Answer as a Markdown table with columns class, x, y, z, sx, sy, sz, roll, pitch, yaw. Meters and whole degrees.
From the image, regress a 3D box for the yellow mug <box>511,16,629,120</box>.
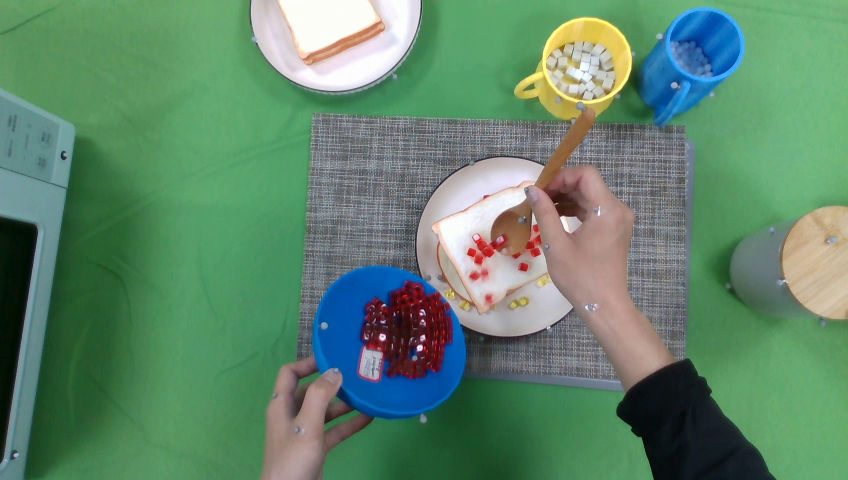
| class | x | y | z | sx | sy | sz | roll | pitch | yaw |
| --- | --- | --- | --- | --- | --- | --- | --- | --- | --- |
| yellow mug | 0.165 | -0.193 | 0.704 | 0.131 | 0.064 | 0.099 | -17 | 83 | 2 |

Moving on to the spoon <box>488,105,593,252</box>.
| class | x | y | z | sx | sy | sz | roll | pitch | yaw |
| --- | --- | --- | --- | --- | --- | --- | --- | --- | --- |
| spoon | 0.100 | -0.047 | 0.538 | 0.021 | 0.195 | 0.041 | -33 | 73 | -29 |

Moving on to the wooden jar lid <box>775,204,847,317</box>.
| class | x | y | z | sx | sy | sz | roll | pitch | yaw |
| --- | --- | --- | --- | --- | --- | --- | --- | --- | --- |
| wooden jar lid | 0.389 | 0.020 | 0.582 | 0.108 | 0.021 | 0.108 | 0 | 87 | 0 |

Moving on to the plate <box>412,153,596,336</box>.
| class | x | y | z | sx | sy | sz | roll | pitch | yaw |
| --- | --- | --- | --- | --- | --- | --- | --- | --- | --- |
| plate | 0.090 | 0.005 | 0.698 | 0.209 | 0.038 | 0.208 | 0 | 84 | 2 |

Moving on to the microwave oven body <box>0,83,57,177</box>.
| class | x | y | z | sx | sy | sz | roll | pitch | yaw |
| --- | --- | --- | --- | --- | --- | --- | --- | --- | --- |
| microwave oven body | -0.609 | 0.038 | 0.609 | 0.326 | 0.260 | 0.440 | 5 | 85 | 2 |

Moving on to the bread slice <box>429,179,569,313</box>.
| class | x | y | z | sx | sy | sz | roll | pitch | yaw |
| --- | --- | --- | --- | --- | --- | --- | --- | --- | --- |
| bread slice | 0.084 | -0.003 | 0.640 | 0.134 | 0.018 | 0.107 | -32 | 91 | -8 |

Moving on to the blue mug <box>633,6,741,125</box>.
| class | x | y | z | sx | sy | sz | roll | pitch | yaw |
| --- | --- | --- | --- | --- | --- | --- | --- | --- | --- |
| blue mug | 0.284 | -0.184 | 0.680 | 0.082 | 0.106 | 0.116 | 25 | 86 | 5 |

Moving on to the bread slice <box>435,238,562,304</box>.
| class | x | y | z | sx | sy | sz | roll | pitch | yaw |
| --- | --- | --- | --- | --- | --- | --- | --- | --- | --- |
| bread slice | 0.080 | 0.014 | 0.700 | 0.131 | 0.019 | 0.104 | -29 | 83 | -1 |

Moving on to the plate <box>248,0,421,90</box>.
| class | x | y | z | sx | sy | sz | roll | pitch | yaw |
| --- | --- | --- | --- | --- | --- | --- | --- | --- | --- |
| plate | -0.107 | -0.280 | 0.737 | 0.207 | 0.039 | 0.207 | 0 | 84 | 2 |

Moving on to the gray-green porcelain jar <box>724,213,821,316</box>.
| class | x | y | z | sx | sy | sz | roll | pitch | yaw |
| --- | --- | --- | --- | --- | --- | --- | --- | --- | --- |
| gray-green porcelain jar | 0.393 | 0.028 | 0.645 | 0.106 | 0.127 | 0.105 | 0 | 84 | 2 |

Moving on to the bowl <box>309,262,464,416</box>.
| class | x | y | z | sx | sy | sz | roll | pitch | yaw |
| --- | --- | --- | --- | --- | --- | --- | --- | --- | --- |
| bowl | -0.046 | 0.105 | 0.583 | 0.152 | 0.077 | 0.150 | 16 | 52 | -20 |

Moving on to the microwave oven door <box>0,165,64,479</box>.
| class | x | y | z | sx | sy | sz | roll | pitch | yaw |
| --- | --- | --- | --- | --- | --- | --- | --- | --- | --- |
| microwave oven door | -0.469 | 0.093 | 0.594 | 0.039 | 0.244 | 0.355 | 5 | 84 | 3 |

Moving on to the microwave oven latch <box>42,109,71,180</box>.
| class | x | y | z | sx | sy | sz | roll | pitch | yaw |
| --- | --- | --- | --- | --- | --- | --- | --- | --- | --- |
| microwave oven latch | -0.441 | -0.113 | 0.714 | 0.030 | 0.029 | 0.079 | 9 | 85 | 3 |
